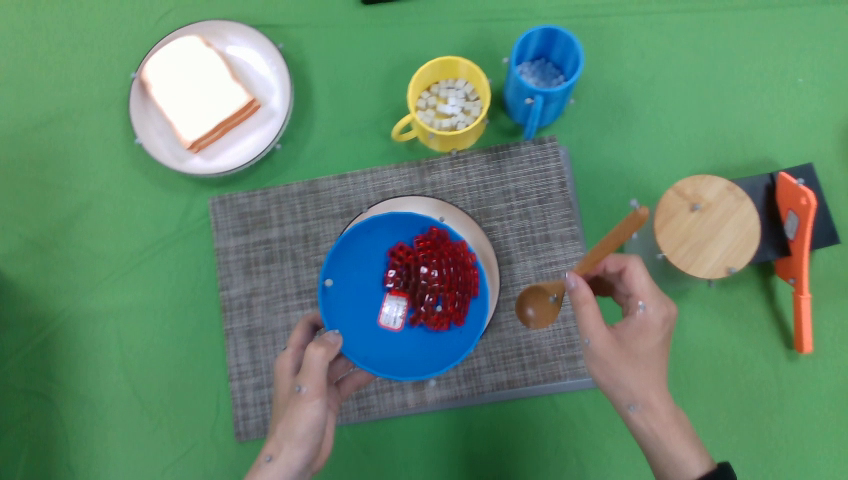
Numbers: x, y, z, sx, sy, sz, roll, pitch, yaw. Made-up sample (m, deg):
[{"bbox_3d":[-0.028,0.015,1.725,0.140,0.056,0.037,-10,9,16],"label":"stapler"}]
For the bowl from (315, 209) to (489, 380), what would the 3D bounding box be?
[{"bbox_3d":[-0.024,0.055,0.550,0.152,0.077,0.150,4,71,-12],"label":"bowl"}]

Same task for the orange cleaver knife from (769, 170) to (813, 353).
[{"bbox_3d":[0.421,0.026,0.698,0.012,0.077,0.212,-11,106,0],"label":"orange cleaver knife"}]

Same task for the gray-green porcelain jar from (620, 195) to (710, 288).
[{"bbox_3d":[0.287,-0.002,0.685,0.106,0.127,0.105,0,80,2],"label":"gray-green porcelain jar"}]

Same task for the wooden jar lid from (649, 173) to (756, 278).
[{"bbox_3d":[0.283,-0.014,0.623,0.108,0.021,0.108,0,82,-1],"label":"wooden jar lid"}]

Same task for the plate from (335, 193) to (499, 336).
[{"bbox_3d":[-0.015,0.048,0.725,0.209,0.038,0.208,0,80,2],"label":"plate"}]

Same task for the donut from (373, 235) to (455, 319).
[{"bbox_3d":[-0.011,0.043,0.698,0.099,0.048,0.098,4,75,-15],"label":"donut"}]

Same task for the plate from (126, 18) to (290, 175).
[{"bbox_3d":[-0.272,-0.181,0.777,0.207,0.039,0.207,0,80,2],"label":"plate"}]

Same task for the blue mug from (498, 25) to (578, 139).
[{"bbox_3d":[0.132,-0.180,0.731,0.082,0.106,0.116,11,80,4],"label":"blue mug"}]

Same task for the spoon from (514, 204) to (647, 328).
[{"bbox_3d":[0.127,0.027,0.512,0.021,0.194,0.041,-32,76,-31],"label":"spoon"}]

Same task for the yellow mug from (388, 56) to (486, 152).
[{"bbox_3d":[0.012,-0.159,0.751,0.131,0.064,0.099,-30,80,-2],"label":"yellow mug"}]

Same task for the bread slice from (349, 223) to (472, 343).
[{"bbox_3d":[-0.023,0.059,0.725,0.131,0.019,0.104,-42,80,-6],"label":"bread slice"}]

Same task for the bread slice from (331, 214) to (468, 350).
[{"bbox_3d":[-0.020,0.036,0.667,0.107,0.018,0.134,45,77,2],"label":"bread slice"}]
